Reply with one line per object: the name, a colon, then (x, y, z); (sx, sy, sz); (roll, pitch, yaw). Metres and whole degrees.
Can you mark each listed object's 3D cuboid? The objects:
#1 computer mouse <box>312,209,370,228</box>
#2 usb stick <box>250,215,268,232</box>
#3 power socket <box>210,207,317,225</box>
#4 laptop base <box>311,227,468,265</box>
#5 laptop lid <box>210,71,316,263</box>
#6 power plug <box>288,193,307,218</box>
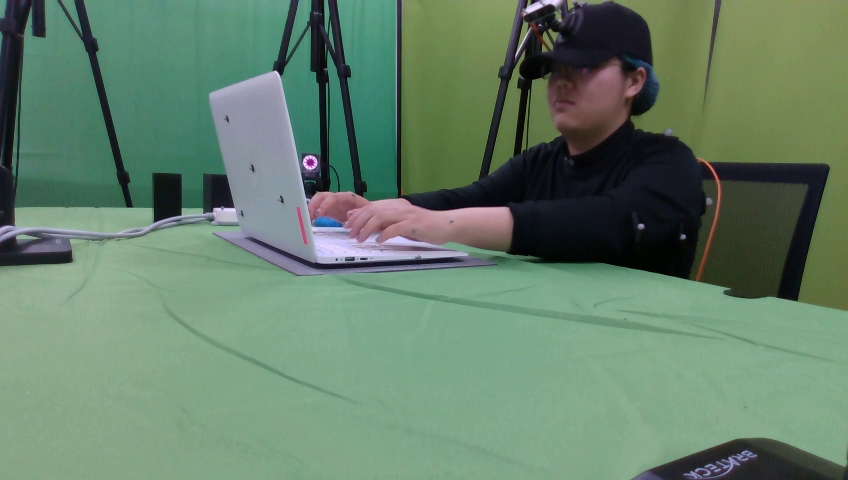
computer mouse: (-0.173, -0.043, 1.266); (0.118, 0.041, 0.062); (-7, 14, -34)
usb stick: (-0.291, -0.028, 1.069); (0.021, 0.027, 0.059); (-1, 11, -30)
power socket: (-0.335, -0.051, 1.280); (0.228, 0.032, 0.072); (-1, 8, -28)
laptop base: (-0.123, 0.007, 0.951); (0.237, 0.023, 0.352); (2, 6, -32)
laptop lid: (-0.241, -0.104, 0.861); (0.013, 0.241, 0.355); (-16, 17, -29)
power plug: (-0.281, -0.077, 1.340); (0.035, 0.052, 0.072); (3, 7, -18)
